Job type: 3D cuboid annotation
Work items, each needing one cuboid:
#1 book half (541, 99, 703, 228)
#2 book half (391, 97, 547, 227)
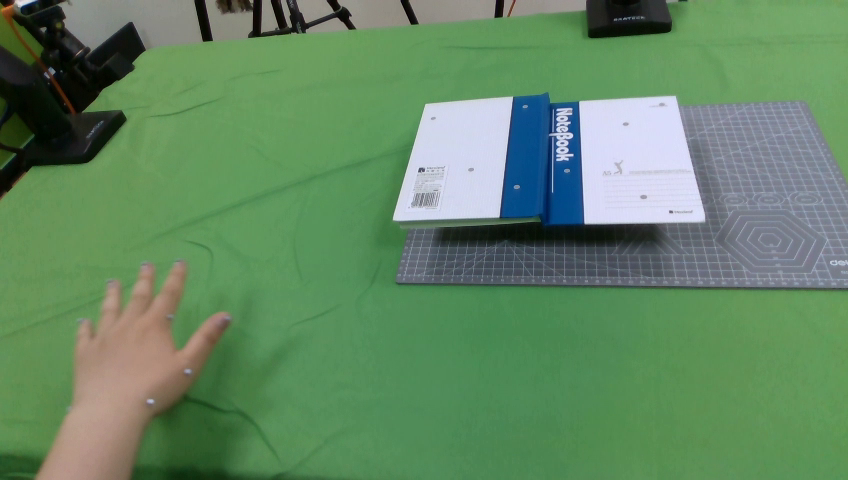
[{"bbox_3d":[0.196,-0.085,0.625,0.143,0.007,0.208,0,44,12],"label":"book half"},{"bbox_3d":[0.055,-0.088,0.651,0.148,0.016,0.208,-1,45,14],"label":"book half"}]
